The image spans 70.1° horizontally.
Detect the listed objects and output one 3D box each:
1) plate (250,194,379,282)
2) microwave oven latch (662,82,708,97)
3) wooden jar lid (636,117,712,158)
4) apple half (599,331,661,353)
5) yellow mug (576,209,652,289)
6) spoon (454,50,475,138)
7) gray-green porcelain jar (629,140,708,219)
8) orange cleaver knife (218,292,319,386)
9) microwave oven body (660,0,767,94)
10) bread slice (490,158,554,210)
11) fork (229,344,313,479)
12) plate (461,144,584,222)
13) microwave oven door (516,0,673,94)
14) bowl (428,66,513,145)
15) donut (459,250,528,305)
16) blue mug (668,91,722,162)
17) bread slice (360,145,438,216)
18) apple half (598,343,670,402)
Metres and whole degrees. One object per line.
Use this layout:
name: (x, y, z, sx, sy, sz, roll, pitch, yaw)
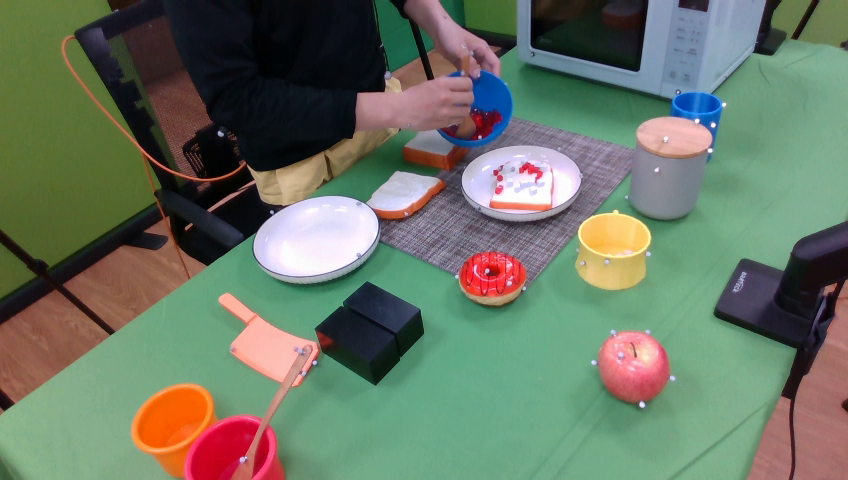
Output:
plate: (-0.174, 0.000, 0.984, 0.209, 0.038, 0.208, -3, 40, 3)
microwave oven latch: (0.518, -0.298, 1.202, 0.078, 0.029, 0.030, 28, 53, 35)
wooden jar lid: (0.377, -0.151, 0.917, 0.108, 0.021, 0.108, -2, 41, 2)
apple half: (0.249, 0.134, 0.738, 0.081, 0.081, 0.032, -1, 46, 7)
yellow mug: (0.279, 0.004, 0.893, 0.099, 0.064, 0.130, 5, 42, 14)
spoon: (0.065, -0.233, 0.992, 0.042, 0.194, 0.021, -22, 56, -10)
gray-green porcelain jar: (0.383, -0.105, 0.958, 0.106, 0.127, 0.105, -4, 41, 4)
orange cleaver knife: (-0.235, 0.136, 0.850, 0.209, 0.012, 0.077, 25, 56, 30)
microwave oven body: (0.473, -0.516, 1.313, 0.438, 0.261, 0.327, 26, 51, 34)
bread slice: (0.173, -0.099, 1.047, 0.104, 0.019, 0.131, 4, 43, 12)
fork: (-0.173, 0.205, 0.662, 0.028, 0.019, 0.207, 29, 94, 35)
plate: (0.167, -0.095, 1.040, 0.207, 0.039, 0.206, -4, 40, 4)
microwave oven door: (0.344, -0.458, 1.257, 0.353, 0.245, 0.039, 26, 51, 33)
bowl: (0.084, -0.227, 1.091, 0.151, 0.077, 0.151, -1, 69, 3)
donut: (0.100, 0.053, 0.872, 0.099, 0.048, 0.098, -4, 40, 4)
blue mug: (0.474, -0.207, 1.079, 0.082, 0.106, 0.116, 4, 42, 13)
bread slice: (-0.053, -0.103, 1.046, 0.106, 0.018, 0.134, 19, 67, 22)
apple half: (0.247, 0.161, 0.710, 0.081, 0.075, 0.053, 2, 47, 5)
